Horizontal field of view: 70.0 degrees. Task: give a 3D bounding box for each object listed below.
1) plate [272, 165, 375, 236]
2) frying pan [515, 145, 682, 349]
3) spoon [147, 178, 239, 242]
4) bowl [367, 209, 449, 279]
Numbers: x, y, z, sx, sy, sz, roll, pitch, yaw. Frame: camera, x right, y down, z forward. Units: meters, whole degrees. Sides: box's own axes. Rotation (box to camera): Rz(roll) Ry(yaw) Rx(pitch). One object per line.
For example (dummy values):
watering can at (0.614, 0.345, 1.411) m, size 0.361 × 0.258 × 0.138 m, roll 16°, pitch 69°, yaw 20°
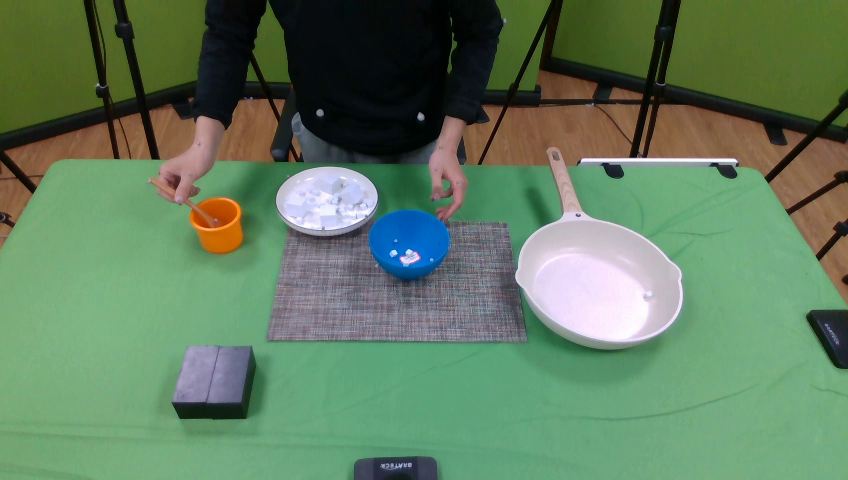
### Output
plate at (-0.204, -0.076, 1.240) m, size 0.208 × 0.039 × 0.206 m, roll 3°, pitch 44°, yaw -2°
frying pan at (0.303, -0.004, 1.168) m, size 0.307 × 0.103 × 0.484 m, roll -2°, pitch 55°, yaw -7°
spoon at (-0.425, -0.057, 1.126) m, size 0.021 × 0.195 × 0.041 m, roll -26°, pitch 37°, yaw 28°
bowl at (-0.031, 0.020, 1.132) m, size 0.151 × 0.077 × 0.150 m, roll 2°, pitch 46°, yaw -2°
